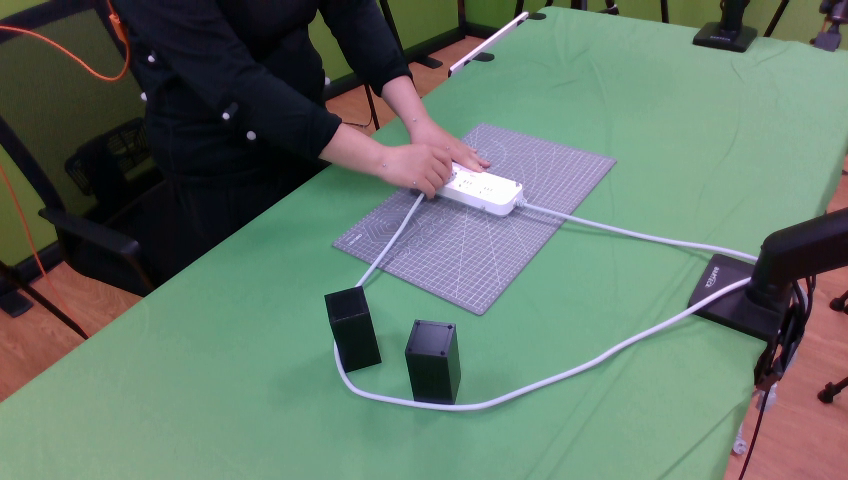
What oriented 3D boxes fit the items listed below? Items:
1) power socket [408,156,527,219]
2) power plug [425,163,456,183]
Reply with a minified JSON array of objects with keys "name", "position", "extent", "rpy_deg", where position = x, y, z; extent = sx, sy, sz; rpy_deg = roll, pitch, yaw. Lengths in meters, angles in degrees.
[{"name":"power socket","position":[0.070,-0.095,1.060],"extent":[0.225,0.033,0.072],"rpy_deg":[22,49,30]},{"name":"power plug","position":[0.023,-0.105,1.048],"extent":[0.073,0.053,0.035],"rpy_deg":[-32,47,-24]}]
